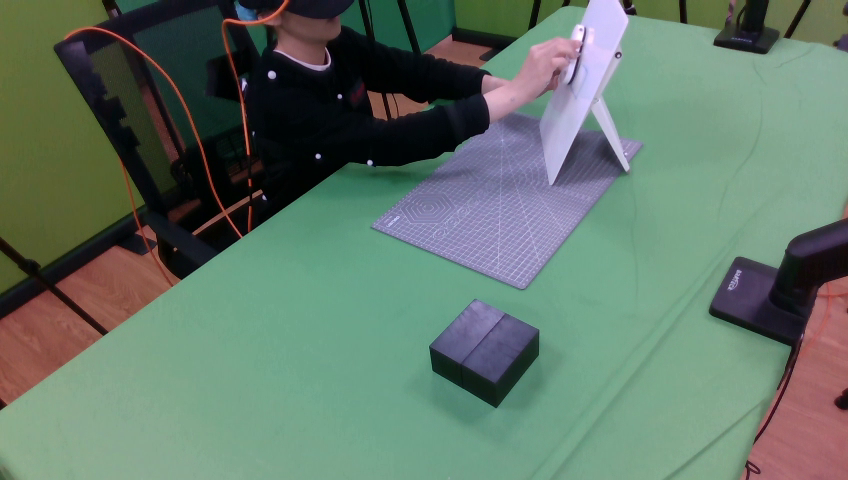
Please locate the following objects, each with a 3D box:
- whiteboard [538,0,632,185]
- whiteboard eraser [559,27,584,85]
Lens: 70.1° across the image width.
[{"bbox_3d":[0.327,-0.259,1.055,0.144,0.305,0.216,13,40,-6],"label":"whiteboard"},{"bbox_3d":[0.262,-0.326,1.073,0.019,0.101,0.041,11,9,-7],"label":"whiteboard eraser"}]
